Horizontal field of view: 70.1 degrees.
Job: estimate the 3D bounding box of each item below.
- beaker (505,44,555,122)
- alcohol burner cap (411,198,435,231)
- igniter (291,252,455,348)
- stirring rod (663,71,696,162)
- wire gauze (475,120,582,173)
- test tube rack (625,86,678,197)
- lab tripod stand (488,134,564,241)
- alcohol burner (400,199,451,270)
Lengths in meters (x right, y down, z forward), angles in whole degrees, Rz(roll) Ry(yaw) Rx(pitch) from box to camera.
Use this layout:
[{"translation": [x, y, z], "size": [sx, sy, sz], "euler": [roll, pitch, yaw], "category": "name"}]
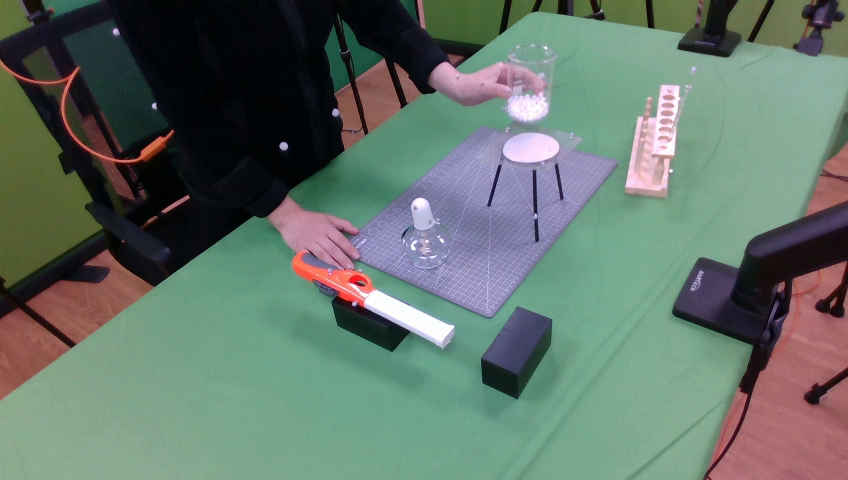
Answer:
[{"translation": [0.164, -0.242, 0.936], "size": [0.084, 0.100, 0.073], "euler": [-28, 45, -28], "category": "beaker"}, {"translation": [-0.003, -0.040, 0.893], "size": [0.034, 0.048, 0.033], "euler": [-8, 41, 7], "category": "alcohol burner cap"}, {"translation": [-0.080, 0.076, 0.822], "size": [0.274, 0.025, 0.057], "euler": [23, 45, 27], "category": "igniter"}, {"translation": [0.410, -0.195, 0.981], "size": [0.014, 0.177, 0.006], "euler": [11, 50, 14], "category": "stirring rod"}, {"translation": [0.161, -0.143, 0.928], "size": [0.120, 0.011, 0.125], "euler": [20, 47, 31], "category": "wire gauze"}, {"translation": [0.412, -0.184, 1.088], "size": [0.066, 0.085, 0.242], "euler": [9, 43, 18], "category": "test tube rack"}, {"translation": [0.168, -0.092, 0.972], "size": [0.148, 0.132, 0.147], "euler": [-5, 41, 5], "category": "lab tripod stand"}, {"translation": [0.000, -0.013, 0.917], "size": [0.078, 0.119, 0.077], "euler": [-5, 41, 5], "category": "alcohol burner"}]
